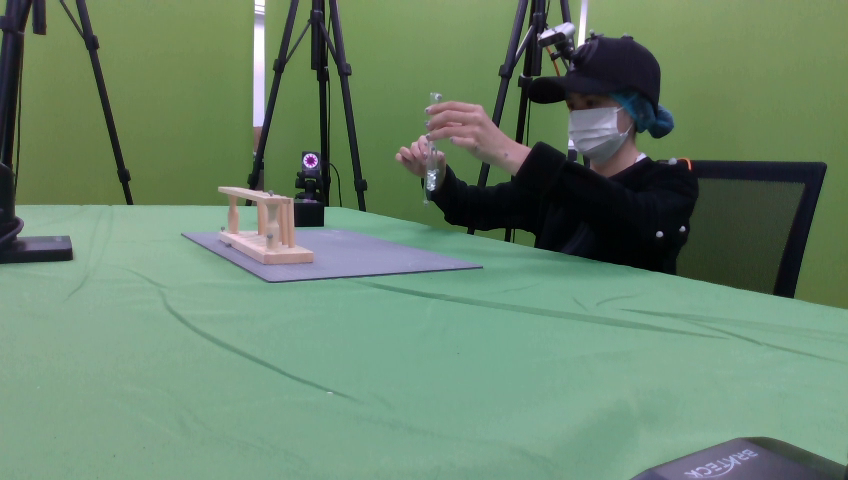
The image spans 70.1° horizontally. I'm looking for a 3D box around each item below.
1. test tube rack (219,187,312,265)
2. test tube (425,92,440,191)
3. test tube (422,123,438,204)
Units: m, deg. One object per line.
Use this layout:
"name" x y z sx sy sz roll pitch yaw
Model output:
"test tube rack" -0.235 -0.027 0.872 0.067 0.085 0.241 -2 8 -31
"test tube" 0.013 -0.150 0.928 0.017 0.150 0.017 3 10 0
"test tube" 0.010 -0.139 1.110 0.017 0.150 0.017 6 20 -2
